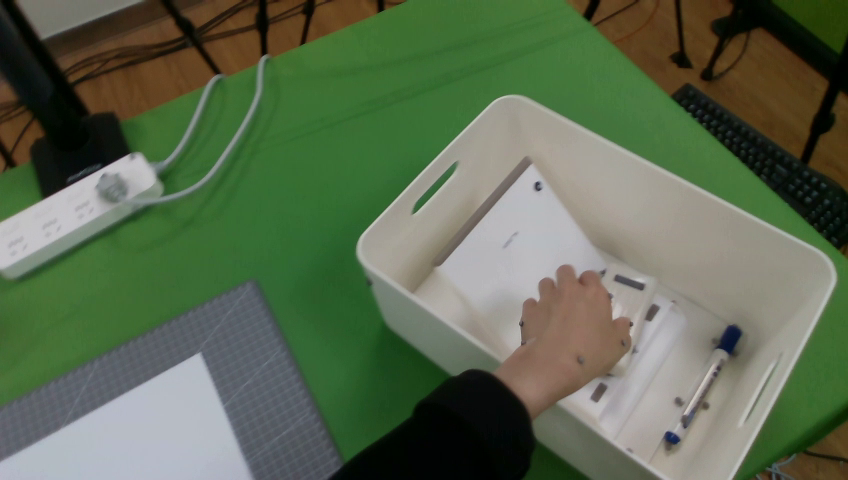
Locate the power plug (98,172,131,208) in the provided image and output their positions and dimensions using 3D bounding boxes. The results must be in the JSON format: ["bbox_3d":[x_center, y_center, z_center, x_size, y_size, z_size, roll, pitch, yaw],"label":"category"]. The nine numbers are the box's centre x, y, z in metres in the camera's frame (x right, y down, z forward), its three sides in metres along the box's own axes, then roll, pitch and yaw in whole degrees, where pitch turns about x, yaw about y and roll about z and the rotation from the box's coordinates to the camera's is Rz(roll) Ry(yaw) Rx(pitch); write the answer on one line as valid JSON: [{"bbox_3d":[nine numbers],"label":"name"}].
[{"bbox_3d":[-0.379,-0.053,0.749,0.035,0.053,0.072,-23,67,-11],"label":"power plug"}]

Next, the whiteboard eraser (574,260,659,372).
[{"bbox_3d":[0.198,0.077,0.621,0.055,0.042,0.112,19,61,21],"label":"whiteboard eraser"}]

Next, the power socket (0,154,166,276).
[{"bbox_3d":[-0.437,-0.035,0.768,0.227,0.033,0.071,-32,63,-16],"label":"power socket"}]

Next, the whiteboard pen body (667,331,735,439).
[{"bbox_3d":[0.289,0.146,0.624,0.017,0.017,0.140,33,65,21],"label":"whiteboard pen body"}]

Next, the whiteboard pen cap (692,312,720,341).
[{"bbox_3d":[0.302,0.094,0.650,0.018,0.018,0.033,36,67,22],"label":"whiteboard pen cap"}]

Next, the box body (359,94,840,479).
[{"bbox_3d":[0.153,0.053,0.606,0.361,0.162,0.253,33,66,21],"label":"box body"}]

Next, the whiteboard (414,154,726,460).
[{"bbox_3d":[0.146,0.050,0.621,0.303,0.145,0.216,32,63,21],"label":"whiteboard"}]
